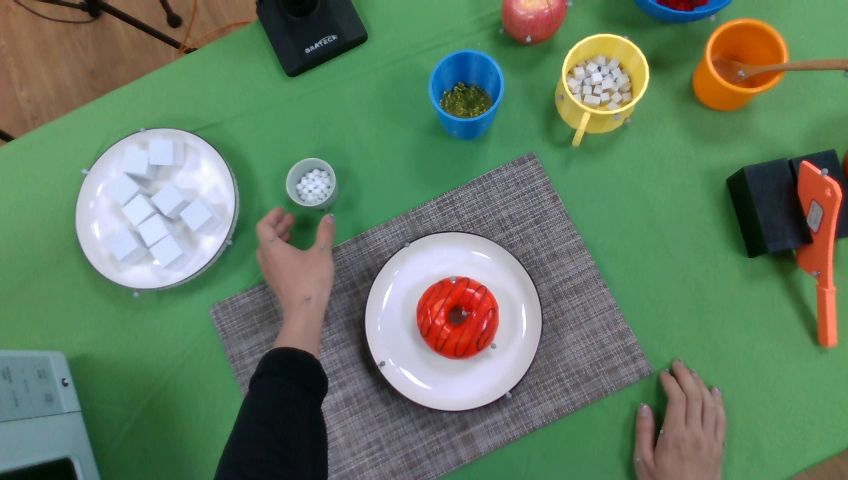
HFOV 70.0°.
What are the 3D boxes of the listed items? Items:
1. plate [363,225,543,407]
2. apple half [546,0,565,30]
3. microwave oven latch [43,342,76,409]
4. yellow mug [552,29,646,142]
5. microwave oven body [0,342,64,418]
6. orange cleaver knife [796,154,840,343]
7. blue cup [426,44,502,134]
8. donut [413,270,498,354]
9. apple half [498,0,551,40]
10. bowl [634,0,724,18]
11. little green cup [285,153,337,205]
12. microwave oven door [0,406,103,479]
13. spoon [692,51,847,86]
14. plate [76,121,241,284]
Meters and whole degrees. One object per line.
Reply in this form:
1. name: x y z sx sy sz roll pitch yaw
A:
1. plate: 0.033 0.087 0.711 0.209 0.038 0.208 -1 81 5
2. apple half: 0.156 -0.300 0.749 0.033 0.081 0.081 -20 79 4
3. microwave oven latch: -0.442 0.162 0.722 0.030 0.029 0.079 -19 80 1
4. yellow mug: 0.203 -0.179 0.730 0.100 0.064 0.130 22 84 7
5. microwave oven body: -0.519 0.362 0.597 0.326 0.261 0.439 -23 80 0
6. orange cleaver knife: 0.435 0.011 0.672 0.012 0.076 0.212 -11 109 5
7. blue cup: 0.048 -0.171 0.724 0.092 0.100 0.092 0 82 3
8. donut: 0.037 0.083 0.700 0.099 0.048 0.098 -1 82 6
9. apple half: 0.119 -0.286 0.751 0.053 0.075 0.080 -20 83 4
10. bowl: 0.307 -0.331 0.741 0.151 0.077 0.151 -1 81 5
11. little green cup: -0.138 -0.073 0.755 0.061 0.039 0.061 -1 80 5
12. microwave oven door: -0.369 0.343 0.583 0.039 0.245 0.354 -23 79 0
13. spoon: 0.395 -0.197 0.676 0.022 0.192 0.041 28 81 -35
14. plate: -0.330 -0.046 0.766 0.207 0.039 0.207 -1 81 5
